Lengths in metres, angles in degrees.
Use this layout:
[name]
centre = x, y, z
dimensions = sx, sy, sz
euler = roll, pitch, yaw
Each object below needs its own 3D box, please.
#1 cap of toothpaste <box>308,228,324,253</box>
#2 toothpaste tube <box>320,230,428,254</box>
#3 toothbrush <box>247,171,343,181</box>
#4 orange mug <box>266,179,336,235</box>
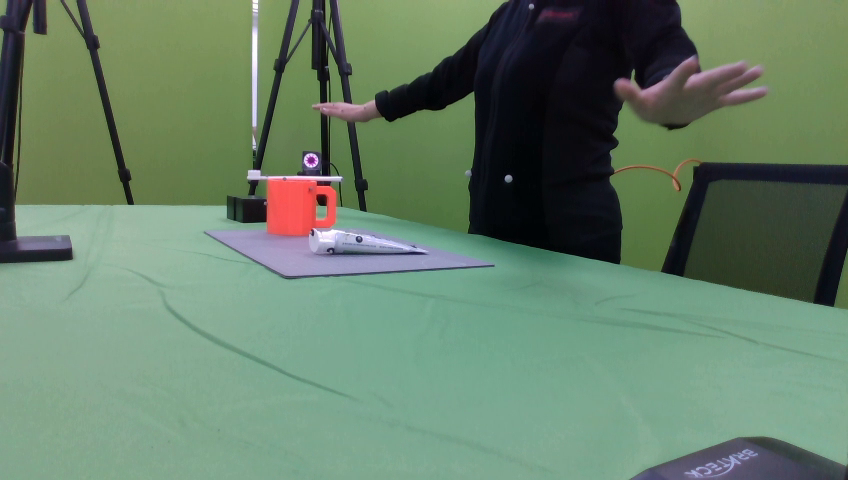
[cap of toothpaste]
centre = -0.153, 0.001, 0.857
dimensions = 0.011, 0.037, 0.037
euler = -5, 10, -36
[toothpaste tube]
centre = -0.078, 0.006, 0.891
dimensions = 0.166, 0.034, 0.055
euler = 4, 11, -26
[toothbrush]
centre = -0.230, -0.115, 1.092
dimensions = 0.183, 0.016, 0.014
euler = -2, 5, -35
[orange mug]
centre = -0.222, -0.062, 1.094
dimensions = 0.127, 0.101, 0.083
euler = -5, 10, -22
